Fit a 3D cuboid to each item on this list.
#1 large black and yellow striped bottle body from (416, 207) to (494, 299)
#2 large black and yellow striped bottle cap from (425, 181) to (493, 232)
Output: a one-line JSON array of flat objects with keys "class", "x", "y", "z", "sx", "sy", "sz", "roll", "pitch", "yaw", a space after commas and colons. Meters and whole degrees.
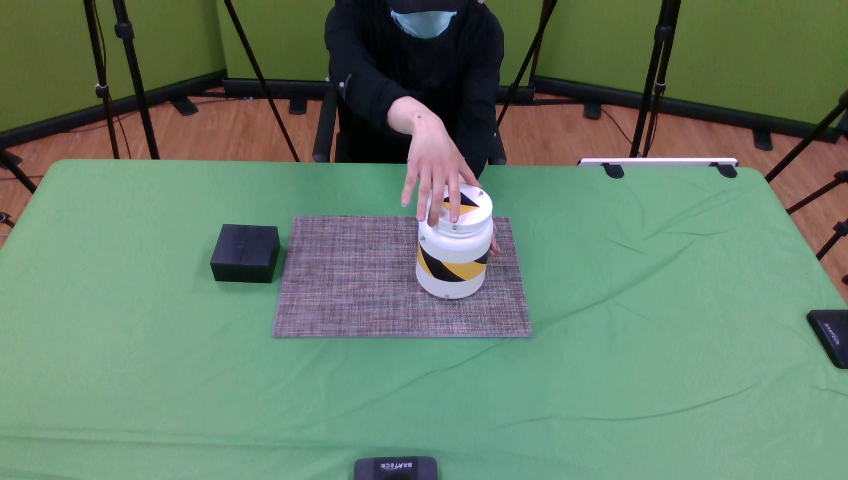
[{"class": "large black and yellow striped bottle body", "x": 0.054, "y": 0.002, "z": 1.079, "sx": 0.131, "sy": 0.185, "sz": 0.130, "roll": 2, "pitch": 46, "yaw": -2}, {"class": "large black and yellow striped bottle cap", "x": 0.059, "y": -0.058, "z": 1.016, "sx": 0.115, "sy": 0.019, "sz": 0.114, "roll": 2, "pitch": 44, "yaw": -1}]
